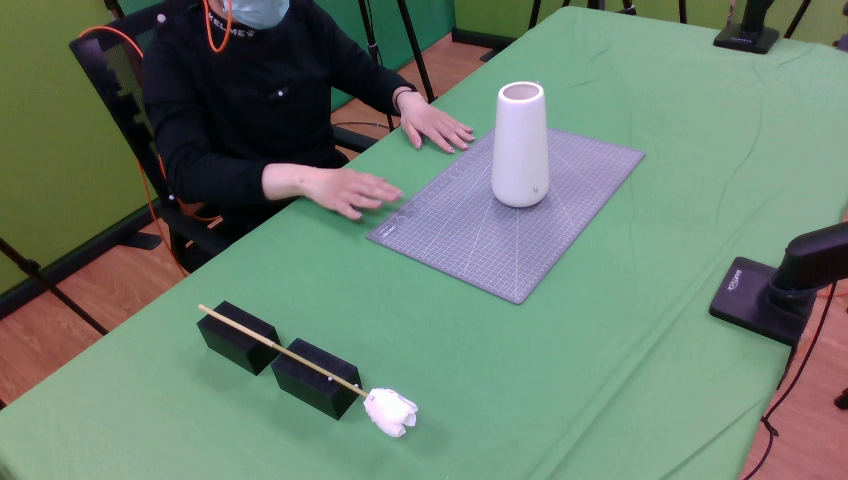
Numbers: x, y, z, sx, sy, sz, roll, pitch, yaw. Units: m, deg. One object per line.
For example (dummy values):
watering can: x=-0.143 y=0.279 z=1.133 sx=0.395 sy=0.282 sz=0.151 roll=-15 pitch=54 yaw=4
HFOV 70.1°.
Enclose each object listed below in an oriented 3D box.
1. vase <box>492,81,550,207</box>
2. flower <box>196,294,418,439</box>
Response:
vase: x=0.159 y=-0.151 z=0.982 sx=0.098 sy=0.201 sz=0.097 roll=-3 pitch=41 yaw=3
flower: x=-0.162 y=0.142 z=0.752 sx=0.359 sy=0.038 sz=0.044 roll=24 pitch=67 yaw=26
